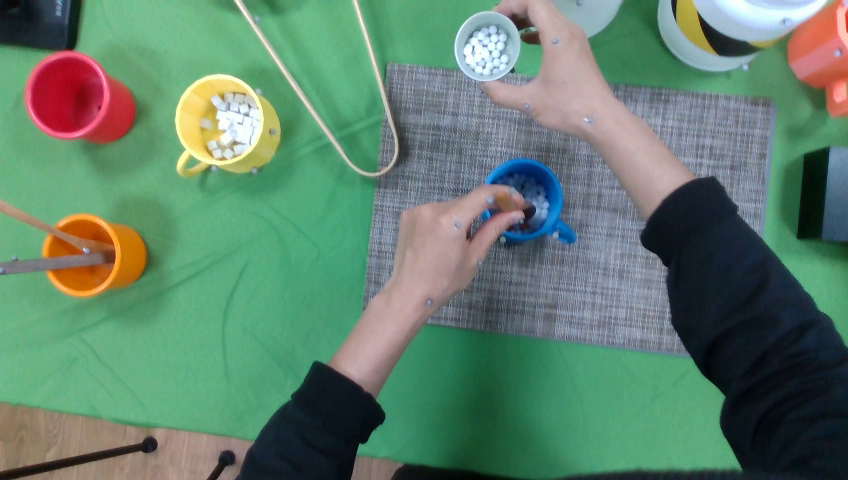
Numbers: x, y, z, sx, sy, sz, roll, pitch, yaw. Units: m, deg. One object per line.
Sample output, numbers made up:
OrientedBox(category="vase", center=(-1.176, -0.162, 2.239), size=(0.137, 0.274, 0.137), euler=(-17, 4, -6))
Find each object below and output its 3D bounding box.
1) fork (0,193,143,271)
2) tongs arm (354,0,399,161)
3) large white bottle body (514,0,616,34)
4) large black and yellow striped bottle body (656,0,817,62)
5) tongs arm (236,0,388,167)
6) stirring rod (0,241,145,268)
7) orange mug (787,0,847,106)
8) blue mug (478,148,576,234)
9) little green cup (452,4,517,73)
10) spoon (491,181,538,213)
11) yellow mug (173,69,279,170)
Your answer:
OrientedBox(category="fork", center=(-0.410, -0.019, 0.667), size=(0.209, 0.018, 0.028), euler=(36, 86, -41))
OrientedBox(category="tongs arm", center=(-0.090, -0.280, 0.690), size=(0.028, 0.027, 0.388), euler=(-19, 96, -5))
OrientedBox(category="large white bottle body", center=(0.158, -0.306, 0.621), size=(0.130, 0.185, 0.130), euler=(0, 89, 3))
OrientedBox(category="large black and yellow striped bottle body", center=(0.327, -0.270, 0.614), size=(0.131, 0.184, 0.130), euler=(0, 89, 3))
OrientedBox(category="tongs arm", center=(-0.165, -0.241, 0.691), size=(0.051, 0.026, 0.385), euler=(-32, 96, -1))
OrientedBox(category="stirring rod", center=(-0.405, 0.017, 0.673), size=(0.177, 0.006, 0.014), euler=(-8, 84, -39))
OrientedBox(category="orange mug", center=(0.460, -0.212, 0.650), size=(0.083, 0.101, 0.126), euler=(-3, 85, 4))
OrientedBox(category="blue mug", center=(0.115, -0.041, 0.660), size=(0.116, 0.106, 0.082), euler=(34, 91, 3))
OrientedBox(category="little green cup", center=(0.059, -0.188, 0.573), size=(0.061, 0.038, 0.062), euler=(2, 100, 12))
OrientedBox(category="spoon", center=(0.084, -0.039, 0.573), size=(0.041, 0.194, 0.021), euler=(-11, 89, 13))
OrientedBox(category="yellow mug", center=(-0.237, -0.129, 0.701), size=(0.100, 0.064, 0.131), euler=(45, 93, 2))
